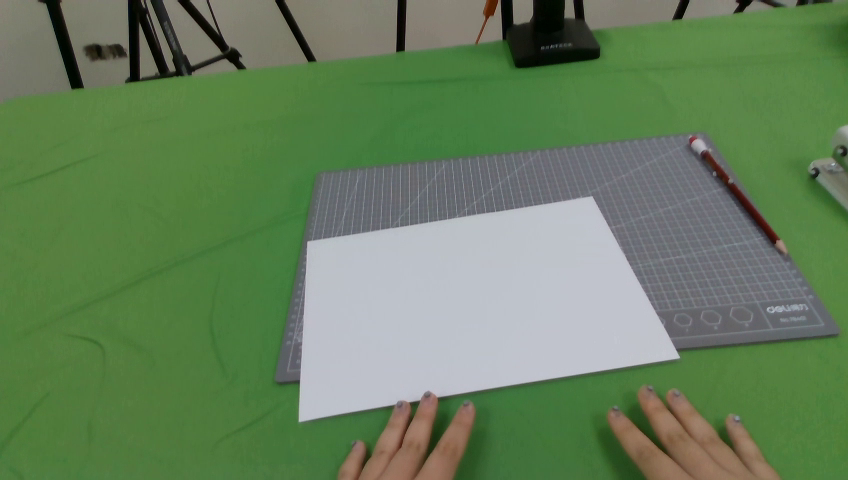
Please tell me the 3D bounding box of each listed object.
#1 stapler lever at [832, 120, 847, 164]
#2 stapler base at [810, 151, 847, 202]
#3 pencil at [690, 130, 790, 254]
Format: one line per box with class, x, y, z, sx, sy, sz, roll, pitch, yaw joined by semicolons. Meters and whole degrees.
stapler lever;0.417;-0.068;0.553;0.027;0.040;0.117;-11;44;1
stapler base;0.419;-0.051;0.572;0.041;0.025;0.129;-11;44;1
pencil;0.308;-0.053;0.598;0.012;0.012;0.192;-9;43;-1
